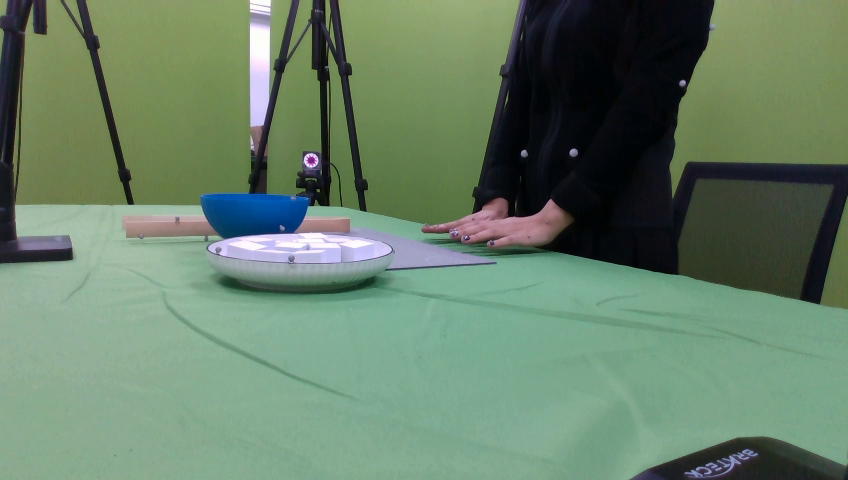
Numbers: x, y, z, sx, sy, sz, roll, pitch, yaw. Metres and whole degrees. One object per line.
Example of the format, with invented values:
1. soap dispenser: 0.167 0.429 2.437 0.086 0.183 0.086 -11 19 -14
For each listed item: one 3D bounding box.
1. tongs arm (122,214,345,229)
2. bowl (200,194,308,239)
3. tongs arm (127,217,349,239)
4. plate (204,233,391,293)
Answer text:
1. tongs arm: -0.336 -0.032 1.103 0.389 0.027 0.028 0 1 -19
2. bowl: -0.245 -0.025 0.879 0.151 0.077 0.151 2 7 0
3. tongs arm: -0.295 -0.023 1.027 0.387 0.026 0.050 -2 5 -34
4. plate: -0.143 0.025 0.697 0.208 0.039 0.207 3 9 0
